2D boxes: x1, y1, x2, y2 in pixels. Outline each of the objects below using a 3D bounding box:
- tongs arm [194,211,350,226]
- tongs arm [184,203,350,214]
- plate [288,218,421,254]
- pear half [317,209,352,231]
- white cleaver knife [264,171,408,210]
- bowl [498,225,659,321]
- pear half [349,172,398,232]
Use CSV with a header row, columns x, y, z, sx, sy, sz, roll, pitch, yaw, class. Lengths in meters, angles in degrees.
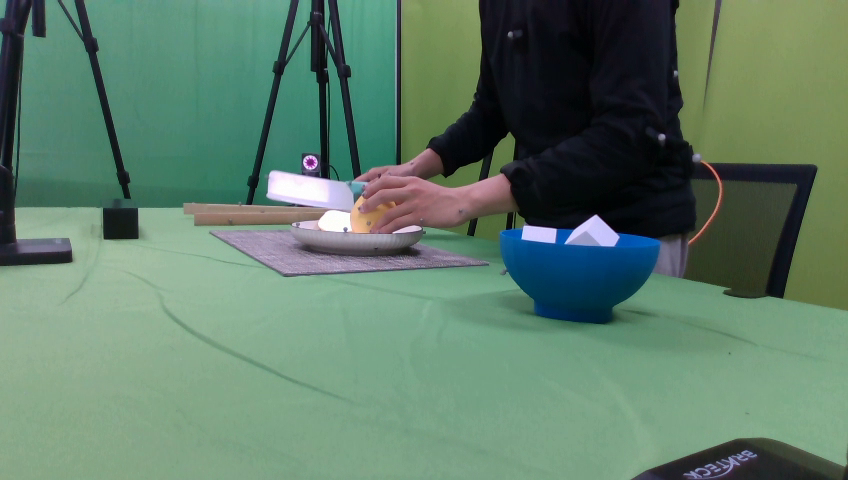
x,y,z,sx,sy,sz,roll,pitch,yaw,class
-0.298,-0.049,1.307,0.390,0.028,0.028,-3,8,-37,tongs arm
-0.337,-0.065,1.376,0.387,0.026,0.050,0,10,-25,tongs arm
-0.109,-0.007,0.956,0.208,0.039,0.207,2,7,0,plate
-0.144,-0.021,1.012,0.071,0.031,0.087,-3,26,-25,pear half
-0.158,-0.086,1.133,0.288,0.065,0.021,3,-23,-29,white cleaver knife
0.144,0.031,0.585,0.151,0.077,0.151,2,7,0,bowl
-0.069,-0.048,0.923,0.077,0.110,0.055,-17,33,-42,pear half
